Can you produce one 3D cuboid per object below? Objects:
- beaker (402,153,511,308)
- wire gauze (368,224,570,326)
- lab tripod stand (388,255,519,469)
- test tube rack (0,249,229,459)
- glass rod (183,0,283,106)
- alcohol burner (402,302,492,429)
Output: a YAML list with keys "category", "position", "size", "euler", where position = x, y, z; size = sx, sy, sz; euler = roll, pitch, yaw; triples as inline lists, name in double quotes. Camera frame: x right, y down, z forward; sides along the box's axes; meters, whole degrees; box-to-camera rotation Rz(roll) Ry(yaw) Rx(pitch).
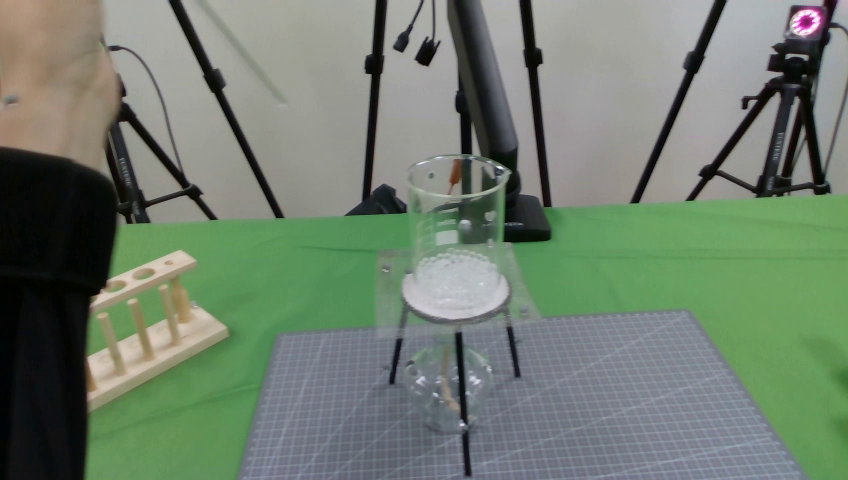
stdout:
- category: "beaker"
  position: [0.027, -0.007, 0.457]
  size: [0.084, 0.101, 0.073]
  euler: [-14, 34, -20]
- category: "wire gauze"
  position: [0.030, 0.024, 0.469]
  size: [0.125, 0.011, 0.120]
  euler: [-10, 29, -22]
- category: "lab tripod stand"
  position: [0.029, 0.093, 0.514]
  size: [0.148, 0.132, 0.147]
  euler: [0, 31, 0]
- category: "test tube rack"
  position: [-0.318, 0.102, 0.576]
  size: [0.066, 0.086, 0.242]
  euler: [24, 39, 37]
- category: "glass rod"
  position: [-0.144, -0.148, 0.335]
  size: [0.008, 0.202, 0.008]
  euler: [-20, 44, 21]
- category: "alcohol burner"
  position: [0.020, 0.102, 0.518]
  size: [0.078, 0.120, 0.077]
  euler: [0, 30, 0]
